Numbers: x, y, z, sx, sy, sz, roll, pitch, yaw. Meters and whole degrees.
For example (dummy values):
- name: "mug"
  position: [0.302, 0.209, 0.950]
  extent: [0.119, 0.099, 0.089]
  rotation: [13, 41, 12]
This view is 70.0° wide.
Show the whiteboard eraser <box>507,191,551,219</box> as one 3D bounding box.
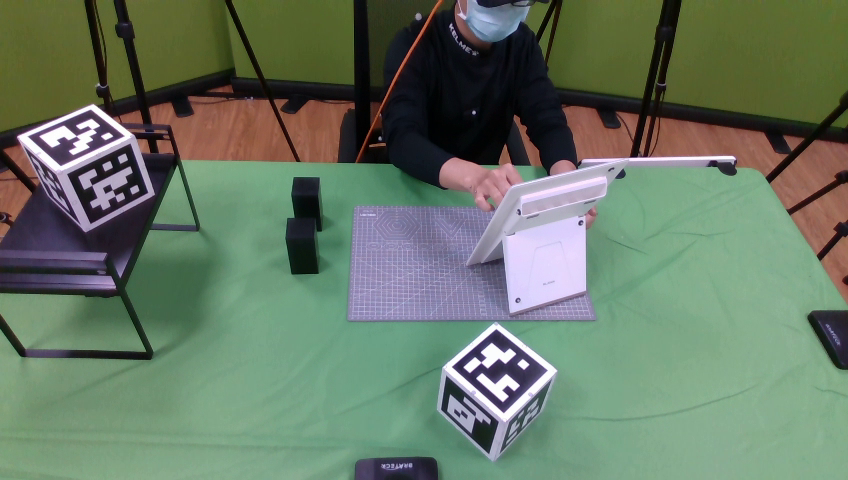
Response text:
- name: "whiteboard eraser"
  position: [0.182, -0.062, 1.053]
  extent: [0.041, 0.101, 0.019]
  rotation: [-22, 85, -31]

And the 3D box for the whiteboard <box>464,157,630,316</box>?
- name: "whiteboard"
  position: [0.224, 0.015, 1.041]
  extent: [0.217, 0.306, 0.143]
  rotation: [-14, 68, -17]
